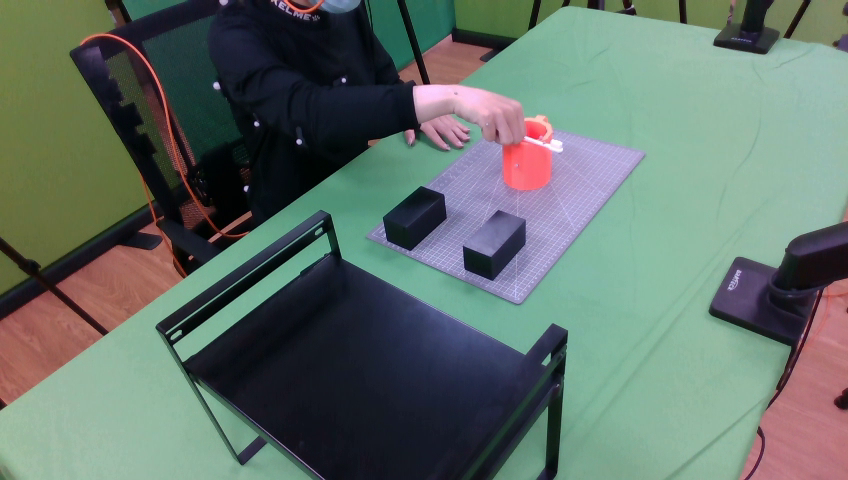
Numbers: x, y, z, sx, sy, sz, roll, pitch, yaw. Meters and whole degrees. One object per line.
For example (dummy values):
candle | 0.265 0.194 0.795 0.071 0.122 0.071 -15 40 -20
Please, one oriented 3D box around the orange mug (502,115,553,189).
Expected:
orange mug | 0.190 -0.164 1.071 0.083 0.101 0.126 16 50 25

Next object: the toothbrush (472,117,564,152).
toothbrush | 0.155 -0.181 1.014 0.180 0.017 0.014 25 48 31
